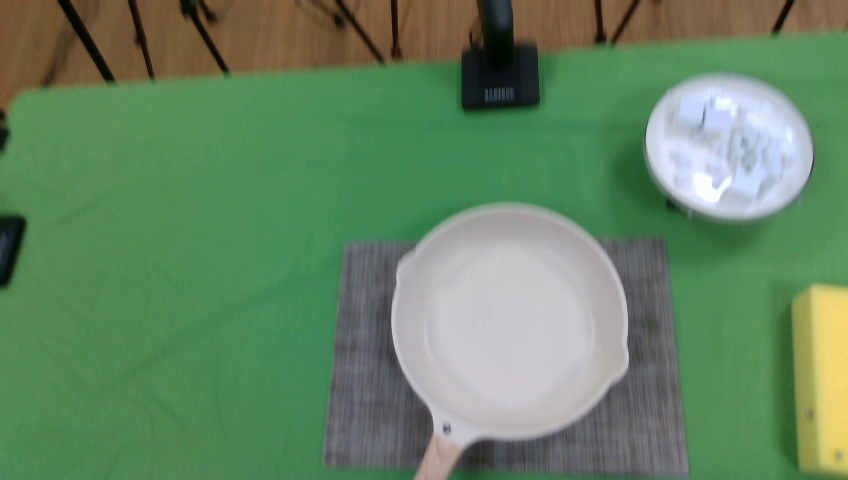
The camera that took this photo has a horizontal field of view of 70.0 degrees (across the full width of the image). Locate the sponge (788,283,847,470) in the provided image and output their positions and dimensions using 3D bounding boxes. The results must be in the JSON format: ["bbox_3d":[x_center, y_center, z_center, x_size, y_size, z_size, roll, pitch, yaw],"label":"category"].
[{"bbox_3d":[0.503,0.162,0.707,0.118,0.061,0.205,5,69,11],"label":"sponge"}]

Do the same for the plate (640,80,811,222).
[{"bbox_3d":[0.390,-0.115,0.797,0.207,0.039,0.206,-2,68,6],"label":"plate"}]

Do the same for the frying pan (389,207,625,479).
[{"bbox_3d":[0.054,0.182,0.737,0.305,0.103,0.486,23,64,18],"label":"frying pan"}]
